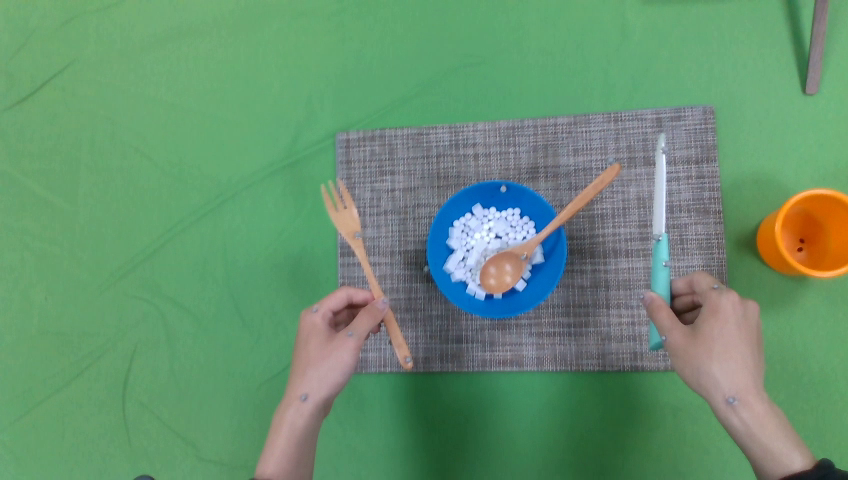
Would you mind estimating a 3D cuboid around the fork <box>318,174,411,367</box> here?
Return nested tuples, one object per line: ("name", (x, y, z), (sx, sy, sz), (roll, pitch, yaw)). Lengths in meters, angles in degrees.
("fork", (-0.057, 0.030, 0.606), (0.028, 0.018, 0.206), (-23, 83, -7))

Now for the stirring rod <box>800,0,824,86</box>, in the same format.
("stirring rod", (0.435, -0.261, 0.670), (0.014, 0.006, 0.177), (-1, 104, 4))

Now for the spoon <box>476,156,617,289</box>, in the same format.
("spoon", (0.130, -0.017, 0.641), (0.041, 0.021, 0.194), (47, 111, 4))

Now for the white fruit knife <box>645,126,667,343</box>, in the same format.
("white fruit knife", (0.219, -0.004, 0.574), (0.016, 0.027, 0.207), (0, 90, -8))

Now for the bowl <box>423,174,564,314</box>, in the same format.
("bowl", (0.078, 0.008, 0.680), (0.151, 0.077, 0.151), (-1, 84, 8))
